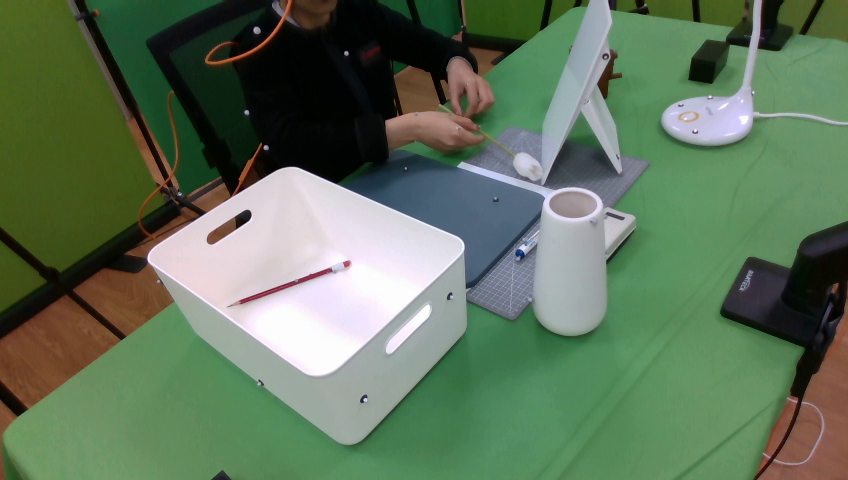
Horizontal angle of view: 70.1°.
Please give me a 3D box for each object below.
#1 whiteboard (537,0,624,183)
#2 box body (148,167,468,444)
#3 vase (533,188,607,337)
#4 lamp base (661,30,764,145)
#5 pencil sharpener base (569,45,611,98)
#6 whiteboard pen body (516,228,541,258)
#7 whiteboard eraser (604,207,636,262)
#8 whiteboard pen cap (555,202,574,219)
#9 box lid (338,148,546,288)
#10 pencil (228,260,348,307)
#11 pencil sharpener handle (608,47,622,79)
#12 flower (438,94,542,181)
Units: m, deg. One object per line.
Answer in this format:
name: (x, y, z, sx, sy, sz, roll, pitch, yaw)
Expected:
whiteboard: (0.316, -0.256, 1.047, 0.144, 0.306, 0.216, 15, 42, -1)
box body: (-0.147, 0.072, 0.816, 0.361, 0.161, 0.255, 24, 50, 33)
vase: (0.187, 0.033, 0.771, 0.098, 0.201, 0.097, -6, 41, 6)
lamp base: (0.535, -0.287, 1.096, 0.179, 0.181, 0.159, -10, 40, -4)
pencil sharpener base: (0.346, -0.352, 1.262, 0.077, 0.107, 0.061, -10, 40, -1)
whiteboard pen body: (0.192, -0.015, 0.964, 0.017, 0.017, 0.141, 26, 51, 34)
whiteboard eraser: (0.272, -0.003, 0.919, 0.055, 0.042, 0.113, 27, 51, 32)
whiteboard pen cap: (0.230, -0.048, 0.994, 0.018, 0.018, 0.033, 26, 54, 34)
box lid: (-0.002, -0.055, 1.052, 0.368, 0.015, 0.264, 23, 49, 32)
pencil: (-0.210, 0.068, 0.942, 0.194, 0.012, 0.012, -20, 42, -12)
pencil sharpener handle: (0.395, -0.369, 1.254, 0.031, 0.068, 0.036, -10, 32, -1)
flower: (0.115, -0.215, 1.186, 0.044, 0.038, 0.358, 13, 26, -39)
